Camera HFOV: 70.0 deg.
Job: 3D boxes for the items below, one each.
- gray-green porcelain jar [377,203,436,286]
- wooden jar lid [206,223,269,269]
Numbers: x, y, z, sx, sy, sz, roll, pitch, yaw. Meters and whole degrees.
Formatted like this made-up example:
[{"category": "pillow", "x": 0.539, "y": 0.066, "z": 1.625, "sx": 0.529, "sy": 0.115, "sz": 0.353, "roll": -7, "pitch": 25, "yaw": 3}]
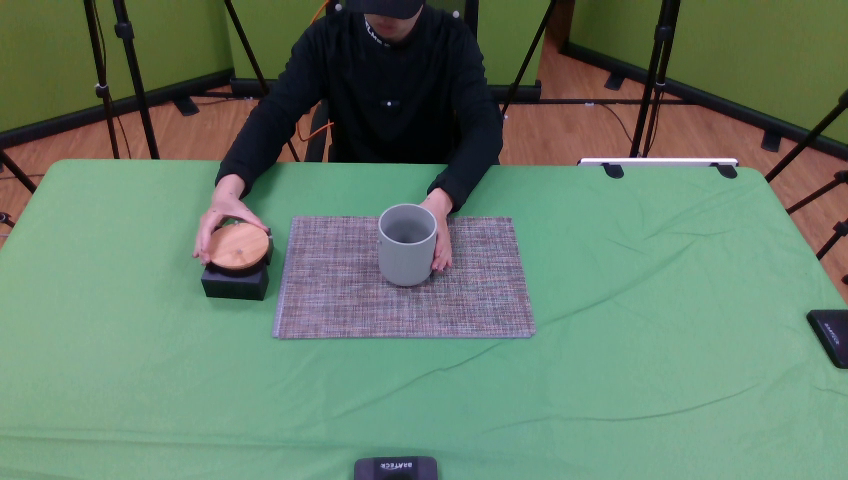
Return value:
[{"category": "gray-green porcelain jar", "x": -0.033, "y": 0.014, "z": 1.106, "sx": 0.106, "sy": 0.127, "sz": 0.105, "roll": 2, "pitch": 46, "yaw": -2}, {"category": "wooden jar lid", "x": -0.335, "y": 0.013, "z": 1.093, "sx": 0.108, "sy": 0.021, "sz": 0.107, "roll": 3, "pitch": 45, "yaw": -3}]
